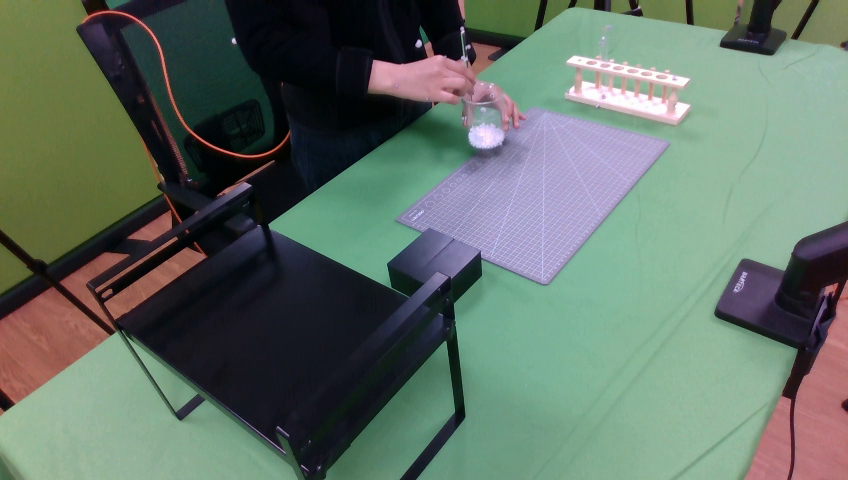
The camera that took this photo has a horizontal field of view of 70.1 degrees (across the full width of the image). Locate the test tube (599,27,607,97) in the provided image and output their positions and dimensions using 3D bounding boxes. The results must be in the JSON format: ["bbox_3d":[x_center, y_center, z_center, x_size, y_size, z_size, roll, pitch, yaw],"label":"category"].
[{"bbox_3d":[0.358,-0.353,1.210,0.017,0.151,0.017,-8,43,8],"label":"test tube"}]

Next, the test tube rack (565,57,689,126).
[{"bbox_3d":[0.411,-0.311,1.230,0.240,0.085,0.067,23,49,32],"label":"test tube rack"}]

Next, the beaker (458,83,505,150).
[{"bbox_3d":[0.108,-0.222,1.099,0.084,0.101,0.074,3,42,14],"label":"beaker"}]

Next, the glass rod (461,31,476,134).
[{"bbox_3d":[0.079,-0.271,1.062,0.008,0.201,0.008,-6,43,6],"label":"glass rod"}]
